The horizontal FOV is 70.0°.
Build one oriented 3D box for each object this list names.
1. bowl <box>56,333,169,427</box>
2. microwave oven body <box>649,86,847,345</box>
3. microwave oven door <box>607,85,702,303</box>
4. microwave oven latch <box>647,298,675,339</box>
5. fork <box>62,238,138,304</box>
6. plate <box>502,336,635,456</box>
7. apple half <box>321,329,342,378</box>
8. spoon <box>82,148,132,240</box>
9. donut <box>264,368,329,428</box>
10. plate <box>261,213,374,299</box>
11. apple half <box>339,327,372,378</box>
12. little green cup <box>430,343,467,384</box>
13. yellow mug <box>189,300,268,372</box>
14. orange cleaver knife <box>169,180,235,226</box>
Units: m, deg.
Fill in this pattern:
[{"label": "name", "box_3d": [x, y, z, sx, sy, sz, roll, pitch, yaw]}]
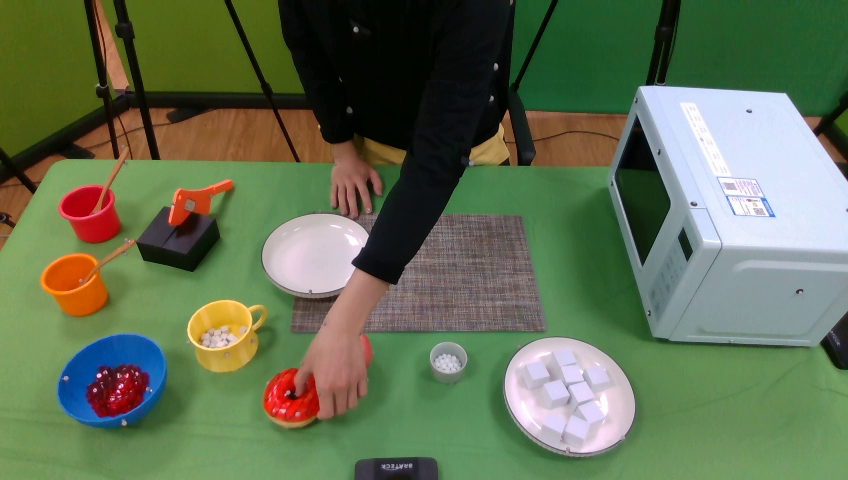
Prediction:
[{"label": "bowl", "box_3d": [-0.456, 0.223, 0.912, 0.151, 0.077, 0.150, 3, 46, -2]}, {"label": "microwave oven body", "box_3d": [0.568, -0.053, 1.118, 0.326, 0.261, 0.439, 2, 45, -1]}, {"label": "microwave oven door", "box_3d": [0.423, -0.094, 1.140, 0.039, 0.245, 0.353, 2, 46, -1]}, {"label": "microwave oven latch", "box_3d": [0.413, 0.134, 1.061, 0.030, 0.029, 0.078, 5, 45, 2]}, {"label": "fork", "box_3d": [-0.547, 0.053, 1.018, 0.207, 0.019, 0.028, -36, 41, 23]}, {"label": "plate", "box_3d": [0.225, 0.248, 0.963, 0.208, 0.039, 0.206, 2, 46, -2]}, {"label": "apple half", "box_3d": [-0.149, 0.186, 0.972, 0.033, 0.081, 0.080, -2, 46, -13]}, {"label": "spoon", "box_3d": [-0.602, -0.088, 1.156, 0.041, 0.022, 0.194, 28, 95, 25]}, {"label": "donut", "box_3d": [-0.197, 0.242, 0.936, 0.099, 0.048, 0.098, 4, 43, -3]}, {"label": "plate", "box_3d": [-0.198, 0.032, 1.137, 0.209, 0.038, 0.208, 2, 46, -2]}, {"label": "apple half", "box_3d": [-0.111, 0.183, 0.980, 0.053, 0.075, 0.080, -2, 42, -12]}, {"label": "little green cup", "box_3d": [0.039, 0.203, 0.994, 0.061, 0.039, 0.061, 2, 46, -2]}, {"label": "yellow mug", "box_3d": [-0.316, 0.149, 1.002, 0.131, 0.064, 0.099, -32, 56, -31]}, {"label": "orange cleaver knife", "box_3d": [-0.436, -0.076, 1.199, 0.012, 0.077, 0.211, 17, 17, 9]}]
